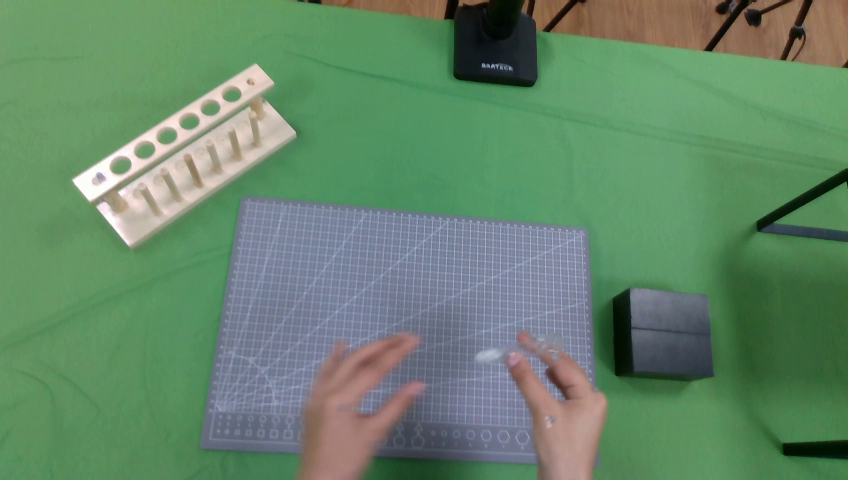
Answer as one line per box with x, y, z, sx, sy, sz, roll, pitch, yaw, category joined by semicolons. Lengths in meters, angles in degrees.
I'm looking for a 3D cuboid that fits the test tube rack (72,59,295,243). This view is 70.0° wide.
-0.272;-0.106;0.717;0.242;0.085;0.066;-40;80;-19;test tube rack

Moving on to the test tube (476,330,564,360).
0.085;0.100;0.570;0.017;0.150;0.017;6;74;-20;test tube
